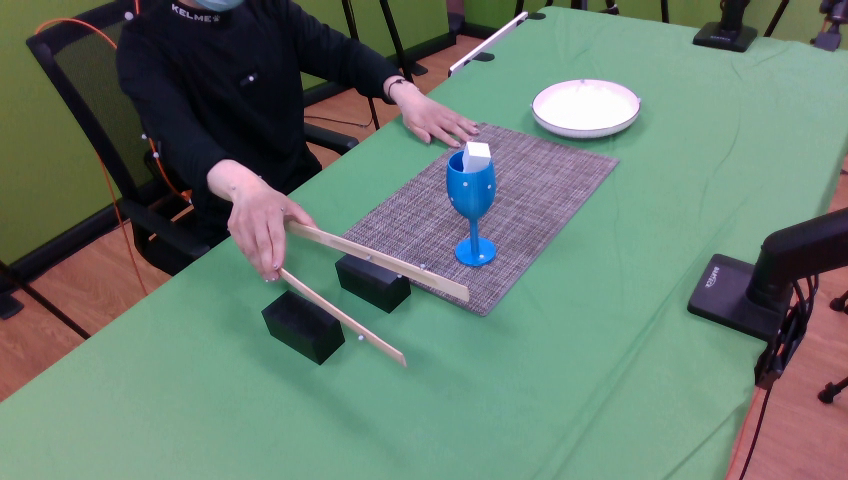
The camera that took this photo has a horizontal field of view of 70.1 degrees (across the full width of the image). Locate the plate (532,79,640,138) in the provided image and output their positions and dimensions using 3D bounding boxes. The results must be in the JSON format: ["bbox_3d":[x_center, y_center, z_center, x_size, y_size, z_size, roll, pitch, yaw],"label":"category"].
[{"bbox_3d":[0.322,-0.259,1.212,0.209,0.038,0.208,-4,40,4],"label":"plate"}]

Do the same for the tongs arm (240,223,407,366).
[{"bbox_3d":[-0.152,0.063,0.817,0.028,0.028,0.384,-40,48,-24],"label":"tongs arm"}]

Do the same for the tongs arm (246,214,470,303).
[{"bbox_3d":[-0.109,0.025,0.854,0.382,0.026,0.051,21,50,31],"label":"tongs arm"}]

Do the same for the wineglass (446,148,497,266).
[{"bbox_3d":[0.072,-0.046,0.889,0.074,0.173,0.073,-4,41,4],"label":"wineglass"}]
